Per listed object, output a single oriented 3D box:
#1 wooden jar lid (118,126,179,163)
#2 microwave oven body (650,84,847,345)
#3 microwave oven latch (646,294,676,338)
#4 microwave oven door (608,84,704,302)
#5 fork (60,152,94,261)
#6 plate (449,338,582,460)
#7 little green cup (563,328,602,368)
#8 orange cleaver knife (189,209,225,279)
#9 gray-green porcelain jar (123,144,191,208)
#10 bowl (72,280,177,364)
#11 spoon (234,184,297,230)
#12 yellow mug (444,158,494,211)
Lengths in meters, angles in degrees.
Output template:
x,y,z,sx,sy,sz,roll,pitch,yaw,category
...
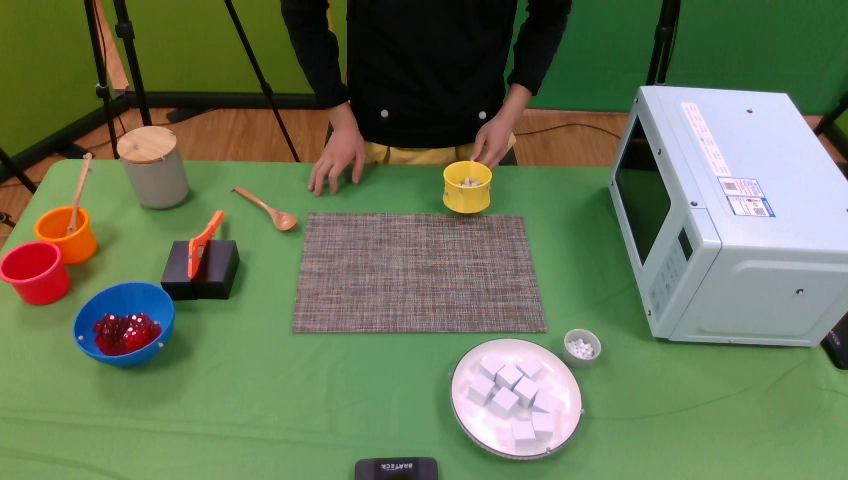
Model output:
x,y,z,sx,sy,sz,roll,pitch,yaw,category
-0.528,-0.181,1.167,0.108,0.021,0.107,3,47,-4,wooden jar lid
0.569,-0.054,1.116,0.326,0.261,0.439,2,46,-1,microwave oven body
0.412,0.133,1.060,0.030,0.029,0.078,3,46,0,microwave oven latch
0.424,-0.096,1.138,0.039,0.245,0.353,3,46,-1,microwave oven door
-0.638,-0.063,1.119,0.028,0.018,0.207,12,90,8,fork
0.141,0.251,0.956,0.208,0.039,0.206,2,46,-2,plate
0.265,0.184,1.025,0.061,0.039,0.061,1,46,-1,little green cup
-0.400,0.002,1.122,0.012,0.077,0.210,4,23,-4,orange cleaver knife
-0.531,-0.137,1.213,0.106,0.127,0.105,2,46,-2,gray-green porcelain jar
-0.472,0.147,0.982,0.151,0.077,0.150,2,46,-2,bowl
-0.327,-0.073,1.239,0.193,0.022,0.041,34,72,25,spoon
0.095,-0.124,1.258,0.100,0.064,0.130,7,40,9,yellow mug
